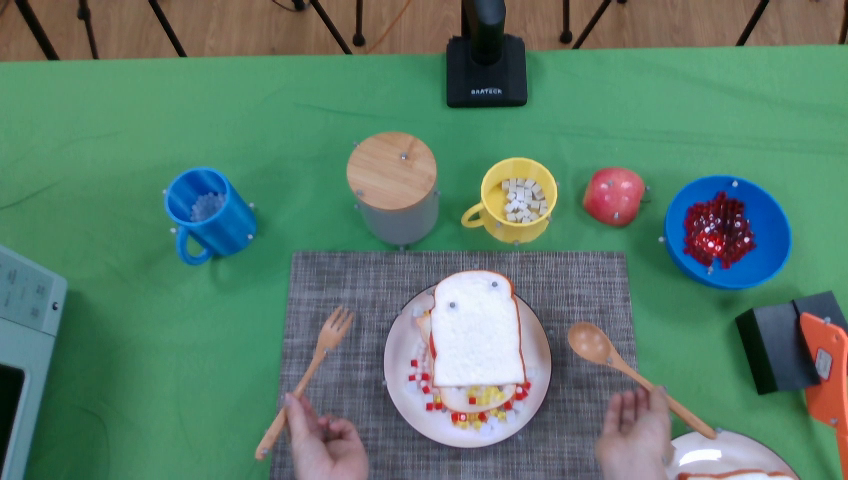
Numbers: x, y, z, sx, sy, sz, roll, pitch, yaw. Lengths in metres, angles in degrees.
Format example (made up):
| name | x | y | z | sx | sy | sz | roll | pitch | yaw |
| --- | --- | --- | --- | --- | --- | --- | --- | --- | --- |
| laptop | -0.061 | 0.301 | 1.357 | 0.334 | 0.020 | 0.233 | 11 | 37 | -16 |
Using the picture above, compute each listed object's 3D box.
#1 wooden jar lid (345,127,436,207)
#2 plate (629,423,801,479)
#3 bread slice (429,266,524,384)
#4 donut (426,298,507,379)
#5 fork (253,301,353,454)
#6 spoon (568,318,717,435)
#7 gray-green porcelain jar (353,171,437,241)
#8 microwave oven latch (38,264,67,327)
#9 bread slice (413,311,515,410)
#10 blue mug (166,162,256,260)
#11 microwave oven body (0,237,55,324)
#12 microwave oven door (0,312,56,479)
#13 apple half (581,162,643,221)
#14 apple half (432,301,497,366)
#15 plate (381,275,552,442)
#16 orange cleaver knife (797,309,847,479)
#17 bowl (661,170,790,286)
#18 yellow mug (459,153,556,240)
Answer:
| name | x | y | z | sx | sy | sz | roll | pitch | yaw |
| --- | --- | --- | --- | --- | --- | --- | --- | --- | --- |
| wooden jar lid | -0.040 | -0.086 | 0.728 | 0.108 | 0.021 | 0.107 | 0 | 68 | 0 |
| plate | 0.328 | 0.315 | 0.680 | 0.209 | 0.038 | 0.207 | -1 | 70 | 2 |
| bread slice | 0.054 | 0.094 | 0.674 | 0.105 | 0.019 | 0.131 | -5 | 83 | 8 |
| donut | 0.052 | 0.118 | 0.731 | 0.099 | 0.048 | 0.098 | -1 | 70 | 3 |
| fork | -0.140 | 0.156 | 0.709 | 0.028 | 0.018 | 0.206 | 42 | 50 | -17 |
| spoon | 0.247 | 0.157 | 0.694 | 0.192 | 0.022 | 0.041 | 38 | 78 | 24 |
| gray-green porcelain jar | -0.036 | -0.063 | 0.788 | 0.106 | 0.127 | 0.105 | -1 | 69 | 2 |
| microwave oven latch | -0.489 | 0.071 | 0.785 | 0.030 | 0.030 | 0.078 | 3 | 70 | 3 |
| bread slice | 0.057 | 0.141 | 0.752 | 0.107 | 0.018 | 0.133 | -17 | 71 | -2 |
| blue mug | -0.285 | -0.028 | 0.796 | 0.082 | 0.106 | 0.116 | 20 | 72 | 10 |
| microwave oven body | -0.645 | 0.202 | 0.640 | 0.326 | 0.262 | 0.438 | 0 | 70 | 2 |
| microwave oven door | -0.501 | 0.241 | 0.615 | 0.039 | 0.245 | 0.353 | 0 | 69 | 3 |
| apple half | 0.256 | -0.072 | 0.818 | 0.074 | 0.054 | 0.080 | 21 | 72 | 12 |
| apple half | 0.047 | 0.104 | 0.698 | 0.081 | 0.033 | 0.080 | -3 | 66 | 7 |
| plate | 0.052 | 0.143 | 0.752 | 0.207 | 0.039 | 0.206 | -1 | 70 | 2 |
| orange cleaver knife | 0.465 | 0.185 | 0.698 | 0.012 | 0.077 | 0.211 | -9 | 91 | -8 |
| bowl | 0.371 | -0.005 | 0.774 | 0.151 | 0.077 | 0.150 | -1 | 70 | 3 |
| yellow mug | 0.108 | -0.052 | 0.810 | 0.131 | 0.064 | 0.099 | -21 | 70 | -4 |
